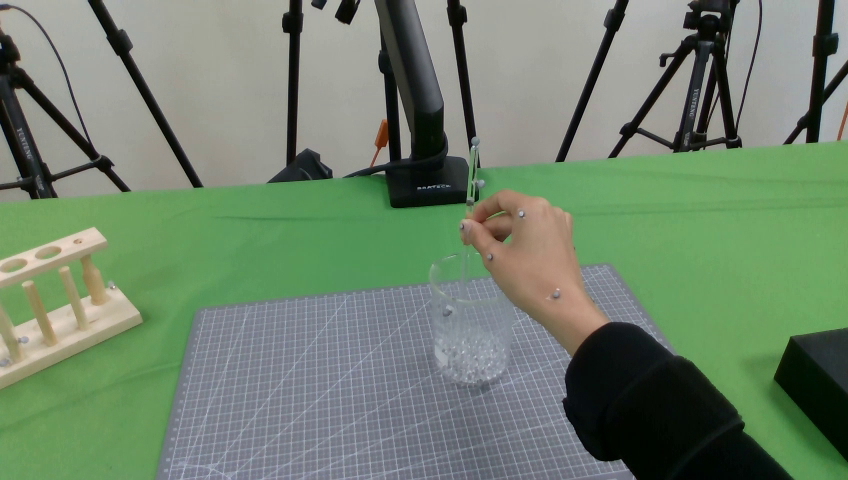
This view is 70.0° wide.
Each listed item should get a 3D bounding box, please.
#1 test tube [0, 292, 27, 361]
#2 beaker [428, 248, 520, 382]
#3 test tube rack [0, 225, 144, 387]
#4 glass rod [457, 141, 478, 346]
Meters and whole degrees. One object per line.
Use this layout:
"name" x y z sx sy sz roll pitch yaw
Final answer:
"test tube" -0.367 0.043 0.509 0.017 0.151 0.017 1 33 0
"beaker" 0.040 0.067 0.530 0.083 0.101 0.074 25 42 35
"test tube rack" -0.392 0.079 0.537 0.242 0.086 0.066 -28 43 -35
"glass rod" 0.036 0.012 0.509 0.008 0.201 0.008 1 31 0
